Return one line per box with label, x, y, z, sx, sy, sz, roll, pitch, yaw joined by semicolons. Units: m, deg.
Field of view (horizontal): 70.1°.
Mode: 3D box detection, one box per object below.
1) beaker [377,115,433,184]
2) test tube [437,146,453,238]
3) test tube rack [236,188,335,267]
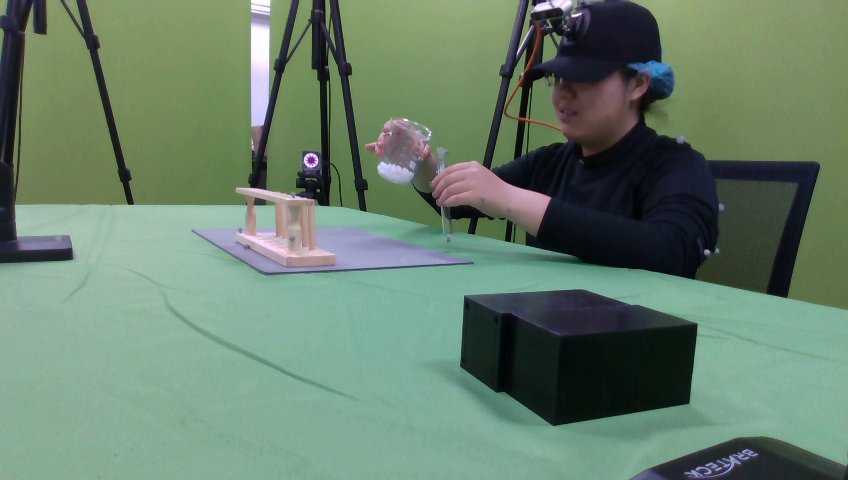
beaker;-0.034;-0.153;1.045;0.083;0.100;0.074;35;26;29
test tube;0.034;-0.079;0.984;0.017;0.150;0.017;-5;-6;0
test tube rack;-0.202;-0.024;0.855;0.067;0.085;0.241;-2;8;-31
